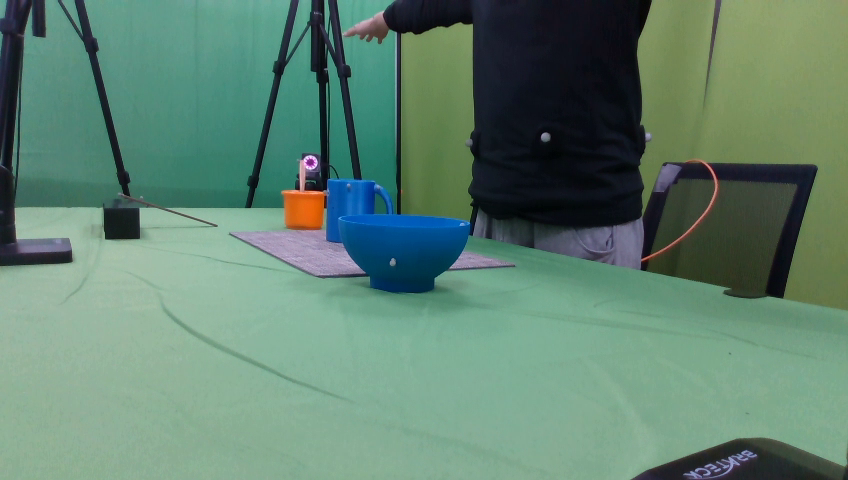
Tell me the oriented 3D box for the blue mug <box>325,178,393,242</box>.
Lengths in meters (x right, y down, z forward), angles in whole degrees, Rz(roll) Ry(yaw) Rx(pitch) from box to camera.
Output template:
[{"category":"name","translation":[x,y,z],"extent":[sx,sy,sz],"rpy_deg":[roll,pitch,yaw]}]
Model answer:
[{"category":"blue mug","translation":[-0.111,-0.052,1.034],"extent":[0.116,0.106,0.082],"rpy_deg":[3,7,7]}]

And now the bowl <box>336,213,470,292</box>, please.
[{"category":"bowl","translation":[-0.025,0.013,0.685],"extent":[0.151,0.077,0.151],"rpy_deg":[2,7,0]}]

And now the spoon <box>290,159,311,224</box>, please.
[{"category":"spoon","translation":[-0.256,-0.104,1.265],"extent":[0.042,0.193,0.021],"rpy_deg":[0,-37,-9]}]

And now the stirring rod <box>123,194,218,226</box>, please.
[{"category":"stirring rod","translation":[-0.480,-0.056,1.153],"extent":[0.177,0.006,0.014],"rpy_deg":[20,-5,-29]}]
